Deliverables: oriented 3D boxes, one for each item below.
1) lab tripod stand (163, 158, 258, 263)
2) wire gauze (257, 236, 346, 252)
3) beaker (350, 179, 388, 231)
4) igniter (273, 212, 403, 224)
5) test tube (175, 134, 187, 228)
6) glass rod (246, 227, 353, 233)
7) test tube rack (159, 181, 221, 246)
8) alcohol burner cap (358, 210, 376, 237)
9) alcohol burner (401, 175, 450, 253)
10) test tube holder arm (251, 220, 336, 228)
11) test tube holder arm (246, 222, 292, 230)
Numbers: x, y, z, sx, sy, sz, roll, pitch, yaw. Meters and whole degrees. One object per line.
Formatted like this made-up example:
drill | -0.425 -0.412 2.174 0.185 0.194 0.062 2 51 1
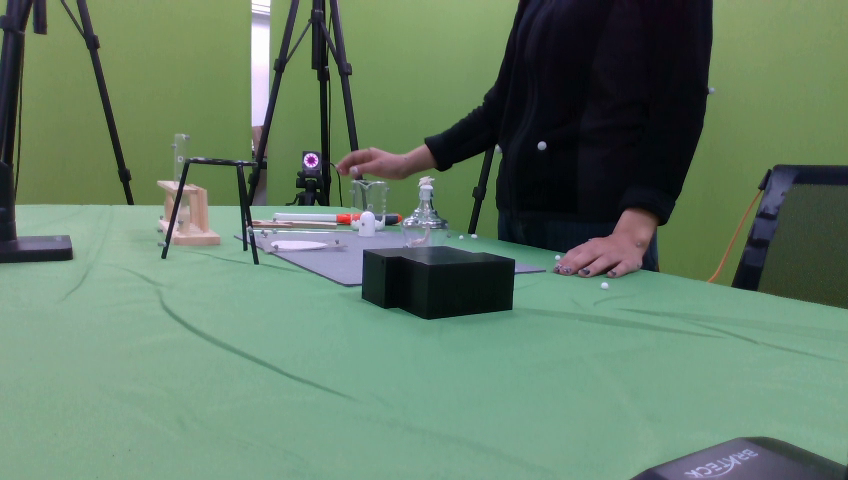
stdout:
lab tripod stand | -0.265 -0.041 0.802 0.148 0.131 0.148 4 7 0
wire gauze | -0.189 0.005 0.931 0.122 0.011 0.124 1 7 -21
beaker | -0.111 -0.069 1.205 0.074 0.100 0.084 2 9 0
igniter | -0.179 -0.048 1.290 0.278 0.025 0.057 -1 -2 -25
test tube | -0.388 -0.093 0.964 0.017 0.150 0.017 1 2 0
glass rod | -0.224 -0.017 1.109 0.201 0.008 0.008 1 7 -27
test tube rack | -0.395 -0.050 1.010 0.067 0.085 0.241 -1 8 -28
alcohol burner cap | -0.104 -0.030 1.098 0.034 0.048 0.034 3 7 0
alcohol burner | 0.003 -0.040 0.933 0.078 0.119 0.078 2 9 0
test tube holder arm | -0.253 -0.030 1.156 0.179 0.015 0.013 -1 41 -30
test tube holder arm | -0.291 -0.026 1.129 0.088 0.015 0.010 -1 41 -30
